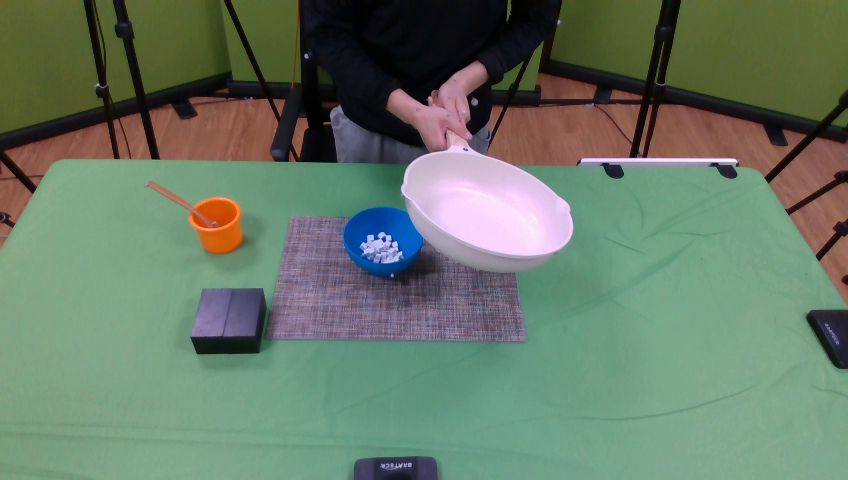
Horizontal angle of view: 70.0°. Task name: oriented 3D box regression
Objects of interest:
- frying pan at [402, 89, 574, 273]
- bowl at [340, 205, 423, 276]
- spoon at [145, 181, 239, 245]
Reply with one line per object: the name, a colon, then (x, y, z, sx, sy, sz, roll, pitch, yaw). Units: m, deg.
frying pan: (0.081, -0.123, 1.080, 0.308, 0.103, 0.484, 4, 47, -21)
bowl: (-0.079, 0.014, 1.133, 0.151, 0.077, 0.150, 2, 46, -2)
spoon: (-0.429, -0.052, 1.126, 0.021, 0.195, 0.041, -27, 35, 34)
